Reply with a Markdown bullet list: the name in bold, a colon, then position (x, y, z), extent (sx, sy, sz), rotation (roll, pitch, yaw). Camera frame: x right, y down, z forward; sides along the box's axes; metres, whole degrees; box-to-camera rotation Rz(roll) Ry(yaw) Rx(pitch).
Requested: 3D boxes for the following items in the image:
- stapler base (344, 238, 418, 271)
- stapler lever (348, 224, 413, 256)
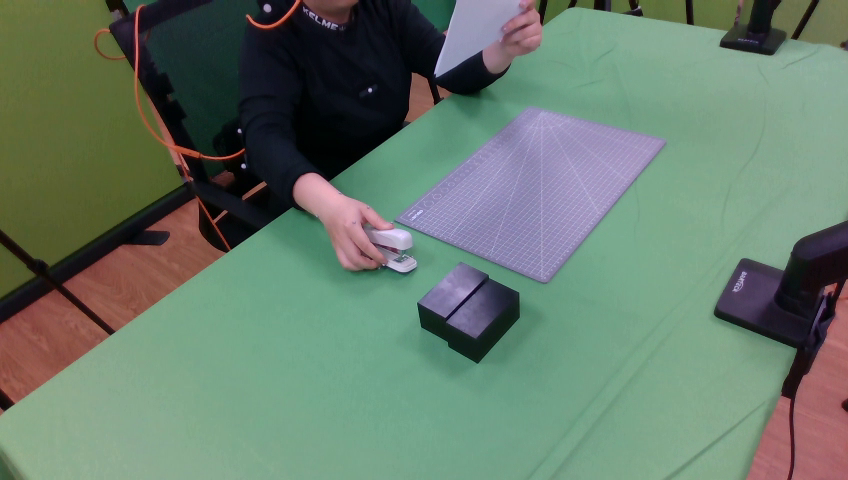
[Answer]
- **stapler base**: position (-0.068, 0.014, 0.963), extent (0.129, 0.024, 0.041), rotation (20, 28, 31)
- **stapler lever**: position (-0.068, -0.008, 0.953), extent (0.117, 0.040, 0.027), rotation (21, 29, 31)
